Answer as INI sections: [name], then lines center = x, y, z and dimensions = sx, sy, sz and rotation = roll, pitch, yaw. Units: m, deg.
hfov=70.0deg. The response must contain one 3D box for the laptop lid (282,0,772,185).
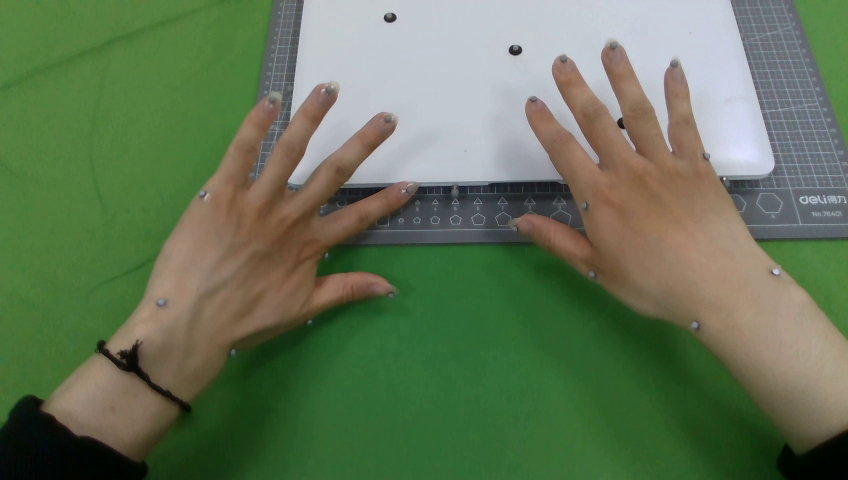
[laptop lid]
center = 0.072, -0.149, 0.477
dimensions = 0.356, 0.013, 0.240
rotation = 1, 66, 3

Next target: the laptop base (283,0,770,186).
[laptop base]
center = 0.072, -0.145, 0.488
dimensions = 0.354, 0.023, 0.233
rotation = -1, 67, 2
